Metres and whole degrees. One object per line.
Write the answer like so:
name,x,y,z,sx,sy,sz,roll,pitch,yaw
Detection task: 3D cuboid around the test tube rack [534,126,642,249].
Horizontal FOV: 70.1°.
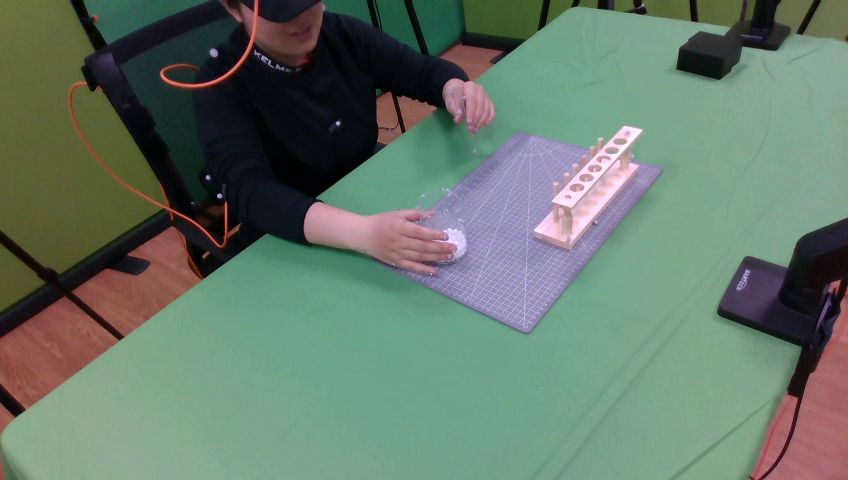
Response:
test tube rack,0.271,-0.095,0.990,0.066,0.085,0.243,23,49,33

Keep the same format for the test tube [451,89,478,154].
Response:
test tube,0.076,-0.213,1.106,0.017,0.151,0.017,-11,50,13

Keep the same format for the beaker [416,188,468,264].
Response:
beaker,0.032,-0.021,0.937,0.073,0.101,0.084,9,42,20
